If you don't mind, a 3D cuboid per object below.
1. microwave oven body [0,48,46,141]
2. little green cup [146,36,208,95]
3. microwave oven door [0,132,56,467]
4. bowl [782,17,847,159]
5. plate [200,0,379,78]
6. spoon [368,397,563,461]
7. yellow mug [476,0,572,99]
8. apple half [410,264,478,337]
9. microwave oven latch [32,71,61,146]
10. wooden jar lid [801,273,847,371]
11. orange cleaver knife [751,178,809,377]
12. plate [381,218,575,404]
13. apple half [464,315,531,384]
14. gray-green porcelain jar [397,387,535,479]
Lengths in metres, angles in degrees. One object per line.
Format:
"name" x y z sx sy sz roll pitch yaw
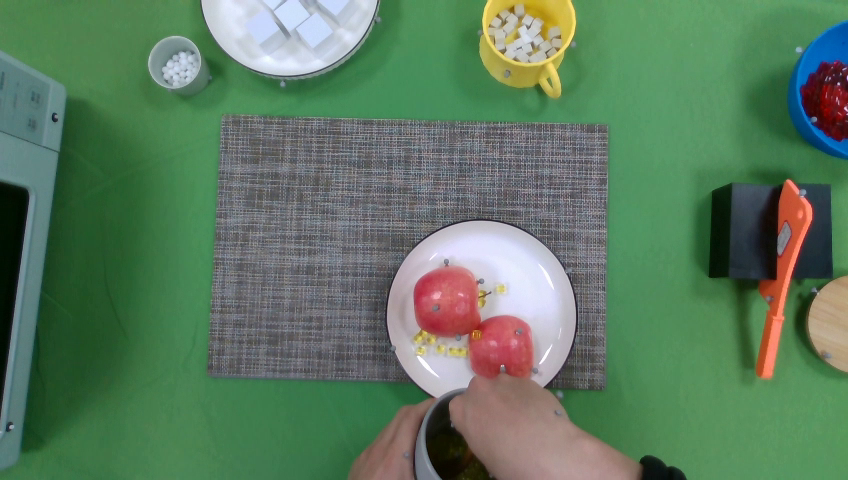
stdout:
"microwave oven body" -0.601 0.006 0.583 0.326 0.260 0.441 5 87 2
"little green cup" -0.283 -0.199 0.701 0.061 0.038 0.061 0 87 1
"microwave oven door" -0.460 0.061 0.569 0.039 0.244 0.355 5 86 3
"bowl" 0.453 -0.154 0.655 0.151 0.077 0.151 0 86 2
"plate" -0.152 -0.287 0.705 0.207 0.039 0.207 0 86 2
"spoon" 0.029 0.160 0.524 0.193 0.041 0.022 -24 124 31
"yellow mug" 0.117 -0.217 0.677 0.100 0.064 0.130 -27 86 -1
"apple half" 0.021 0.066 0.655 0.074 0.053 0.080 -1 86 4
"microwave oven latch" -0.434 -0.149 0.685 0.030 0.029 0.079 8 87 2
"wooden jar lid" 0.469 0.090 0.667 0.108 0.021 0.108 0 86 3
"orange cleaver knife" 0.368 0.042 0.643 0.012 0.077 0.212 3 110 5
"plate" 0.058 0.080 0.668 0.209 0.038 0.208 0 87 2
"apple half" 0.081 0.120 0.658 0.081 0.033 0.081 0 82 2
"gray-green porcelain jar" 0.033 0.214 0.565 0.106 0.127 0.105 9 46 -9
